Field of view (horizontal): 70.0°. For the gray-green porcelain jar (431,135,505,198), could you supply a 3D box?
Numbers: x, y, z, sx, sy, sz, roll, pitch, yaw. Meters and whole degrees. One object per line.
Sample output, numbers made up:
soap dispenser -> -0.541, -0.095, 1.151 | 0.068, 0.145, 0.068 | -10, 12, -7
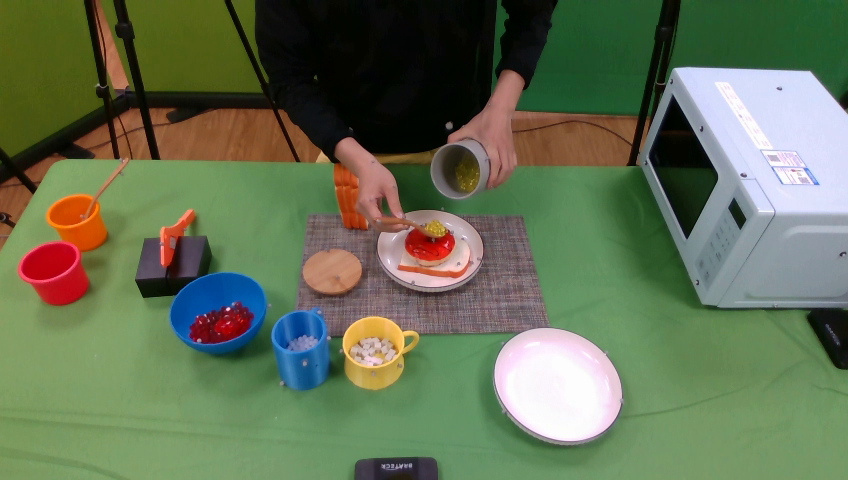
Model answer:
gray-green porcelain jar -> 0.088, -0.141, 1.143 | 0.105, 0.106, 0.126 | 28, 26, 21

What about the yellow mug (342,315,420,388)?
yellow mug -> -0.068, 0.177, 0.990 | 0.131, 0.064, 0.099 | -15, 50, -19

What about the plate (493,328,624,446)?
plate -> 0.213, 0.236, 0.974 | 0.208, 0.039, 0.206 | 2, 46, -2

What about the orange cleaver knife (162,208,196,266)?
orange cleaver knife -> -0.454, -0.010, 1.129 | 0.012, 0.077, 0.210 | -1, 17, -6

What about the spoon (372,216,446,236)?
spoon -> -0.024, -0.028, 1.041 | 0.041, 0.021, 0.194 | 38, 14, 33

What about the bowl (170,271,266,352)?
bowl -> -0.334, 0.132, 1.006 | 0.151, 0.077, 0.150 | 2, 46, -2

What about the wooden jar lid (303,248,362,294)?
wooden jar lid -> -0.169, 0.060, 1.122 | 0.108, 0.021, 0.107 | 2, 45, -2

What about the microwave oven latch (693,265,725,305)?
microwave oven latch -> 0.522, 0.081, 1.115 | 0.030, 0.029, 0.078 | 2, 46, -1

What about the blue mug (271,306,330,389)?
blue mug -> -0.188, 0.163, 0.969 | 0.082, 0.106, 0.116 | 15, 47, 10

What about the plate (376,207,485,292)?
plate -> 0.012, 0.021, 1.159 | 0.209, 0.038, 0.208 | 2, 47, -2

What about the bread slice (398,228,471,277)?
bread slice -> 0.025, 0.023, 1.159 | 0.131, 0.019, 0.104 | 9, 47, 5

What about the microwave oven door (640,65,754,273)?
microwave oven door -> 0.523, -0.147, 1.193 | 0.039, 0.245, 0.353 | 0, 47, -3

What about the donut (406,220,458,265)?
donut -> 0.014, 0.004, 1.136 | 0.099, 0.048, 0.098 | 0, 46, 0

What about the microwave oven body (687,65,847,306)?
microwave oven body -> 0.669, -0.111, 1.176 | 0.326, 0.261, 0.439 | 0, 46, -3

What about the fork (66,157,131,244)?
fork -> -0.608, -0.074, 1.132 | 0.207, 0.019, 0.028 | -52, 49, 10

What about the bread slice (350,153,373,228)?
bread slice -> -0.124, -0.104, 1.207 | 0.018, 0.135, 0.106 | -1, 48, 7
